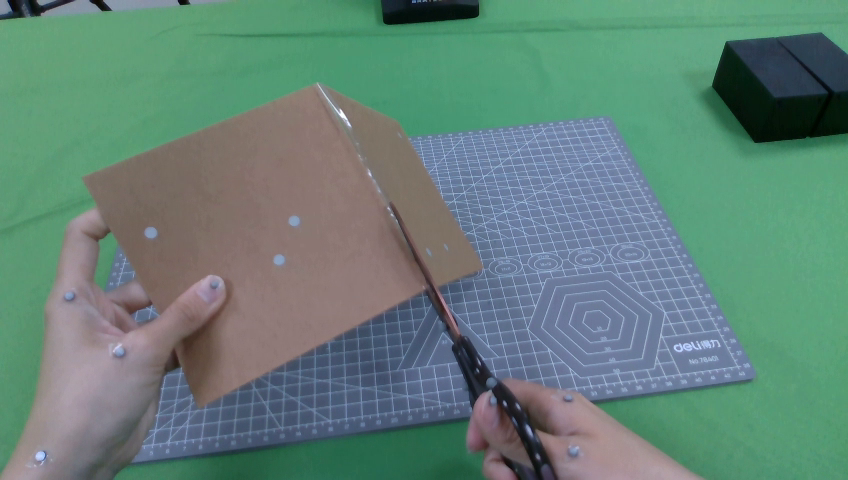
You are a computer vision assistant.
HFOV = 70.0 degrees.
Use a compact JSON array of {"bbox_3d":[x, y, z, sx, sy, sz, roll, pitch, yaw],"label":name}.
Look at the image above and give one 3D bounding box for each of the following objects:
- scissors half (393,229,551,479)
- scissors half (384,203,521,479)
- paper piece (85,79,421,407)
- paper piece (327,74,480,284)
[{"bbox_3d":[0.017,0.051,0.316,0.013,0.040,0.173,-27,61,-8],"label":"scissors half"},{"bbox_3d":[0.016,0.058,0.338,0.013,0.040,0.175,-26,91,-13],"label":"scissors half"},{"bbox_3d":[-0.086,-0.002,0.329,0.136,0.004,0.135,-27,92,-15],"label":"paper piece"},{"bbox_3d":[-0.008,-0.036,0.407,0.008,0.138,0.135,-27,84,15],"label":"paper piece"}]
